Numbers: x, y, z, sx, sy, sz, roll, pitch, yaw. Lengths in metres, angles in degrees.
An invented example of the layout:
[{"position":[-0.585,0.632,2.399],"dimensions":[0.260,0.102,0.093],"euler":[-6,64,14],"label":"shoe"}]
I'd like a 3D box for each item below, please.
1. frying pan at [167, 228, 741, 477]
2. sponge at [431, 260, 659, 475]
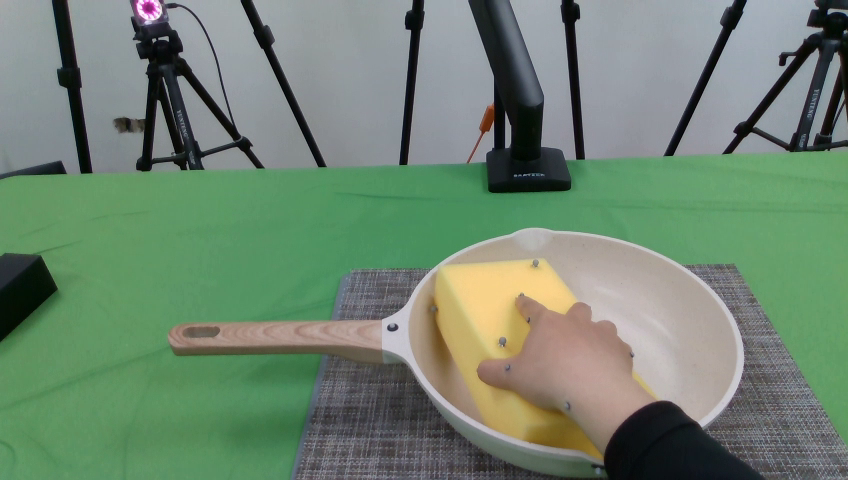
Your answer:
[{"position":[0.023,0.091,0.549],"dimensions":[0.489,0.103,0.304],"euler":[3,32,-5],"label":"frying pan"},{"position":[0.094,0.100,0.544],"dimensions":[0.119,0.061,0.204],"euler":[-3,32,-19],"label":"sponge"}]
